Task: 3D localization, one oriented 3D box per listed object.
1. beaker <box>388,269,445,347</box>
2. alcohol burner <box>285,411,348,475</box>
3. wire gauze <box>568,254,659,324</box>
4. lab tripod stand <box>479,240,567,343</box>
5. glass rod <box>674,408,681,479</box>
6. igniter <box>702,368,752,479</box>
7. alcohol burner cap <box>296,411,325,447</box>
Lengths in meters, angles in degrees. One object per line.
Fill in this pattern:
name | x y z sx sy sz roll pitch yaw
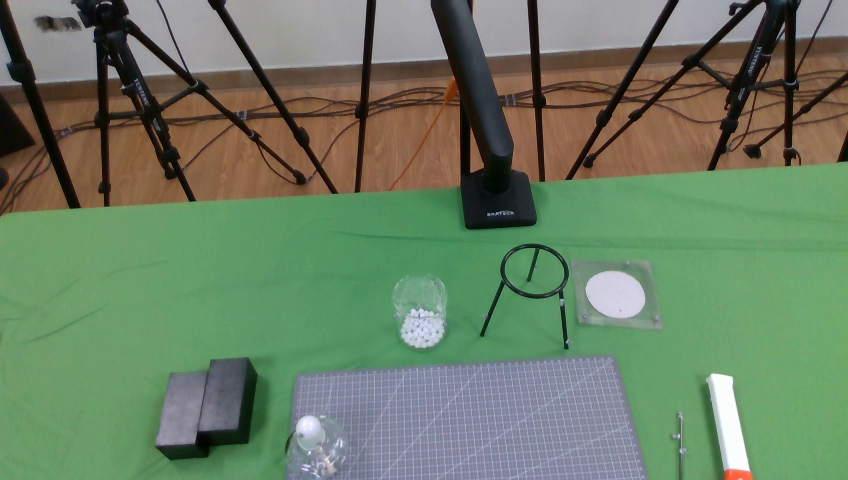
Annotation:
beaker | -0.005 0.100 0.851 0.083 0.101 0.074 36 62 25
alcohol burner | -0.133 0.239 0.734 0.078 0.120 0.077 -2 50 2
wire gauze | 0.286 0.071 0.920 0.125 0.011 0.120 1 52 5
lab tripod stand | 0.144 0.070 0.847 0.148 0.133 0.147 -2 51 3
glass rod | 0.312 0.300 0.744 0.008 0.008 0.198 10 54 9
igniter | 0.380 0.286 0.739 0.057 0.025 0.274 10 53 -3
alcohol burner cap | -0.133 0.218 0.705 0.034 0.048 0.033 1 55 -1
